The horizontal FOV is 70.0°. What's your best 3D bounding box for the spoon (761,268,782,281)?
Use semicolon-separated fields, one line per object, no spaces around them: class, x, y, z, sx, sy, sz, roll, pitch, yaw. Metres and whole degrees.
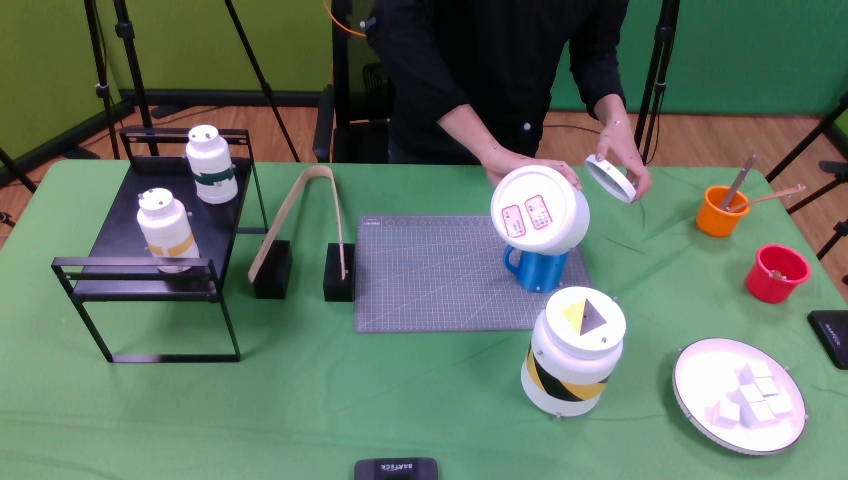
spoon;0.638;0.060;1.105;0.041;0.021;0.194;38;11;24

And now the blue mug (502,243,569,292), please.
blue mug;0.203;0.031;1.121;0.116;0.106;0.082;5;46;1

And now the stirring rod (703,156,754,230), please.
stirring rod;0.631;-0.097;1.258;0.014;0.006;0.176;33;95;29

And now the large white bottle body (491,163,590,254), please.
large white bottle body;0.194;-0.044;0.974;0.130;0.130;0.185;30;8;22

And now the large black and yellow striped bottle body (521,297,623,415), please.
large black and yellow striped bottle body;0.228;0.173;0.938;0.131;0.185;0.130;2;47;-2

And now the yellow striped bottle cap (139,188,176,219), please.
yellow striped bottle cap;-0.363;-0.050;0.826;0.044;0.019;0.044;0;47;0

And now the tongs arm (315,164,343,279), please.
tongs arm;-0.188;-0.049;1.170;0.051;0.026;0.382;-6;35;-6

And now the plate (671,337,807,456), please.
plate;0.504;0.253;0.984;0.208;0.039;0.206;2;46;-2

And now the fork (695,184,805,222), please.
fork;0.657;-0.075;1.230;0.207;0.019;0.028;-23;34;37

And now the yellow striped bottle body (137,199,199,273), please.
yellow striped bottle body;-0.366;-0.014;0.863;0.063;0.121;0.062;2;46;-2

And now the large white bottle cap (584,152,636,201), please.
large white bottle cap;0.344;-0.117;1.122;0.018;0.115;0.114;-46;56;7

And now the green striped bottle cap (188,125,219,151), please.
green striped bottle cap;-0.339;-0.158;0.931;0.044;0.020;0.044;4;45;-4

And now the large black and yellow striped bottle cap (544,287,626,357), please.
large black and yellow striped bottle cap;0.232;0.116;0.876;0.115;0.019;0.114;2;46;-1

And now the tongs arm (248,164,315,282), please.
tongs arm;-0.269;-0.047;1.166;0.028;0.028;0.385;-1;34;7

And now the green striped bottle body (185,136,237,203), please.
green striped bottle body;-0.341;-0.122;0.968;0.063;0.120;0.063;2;46;-2
